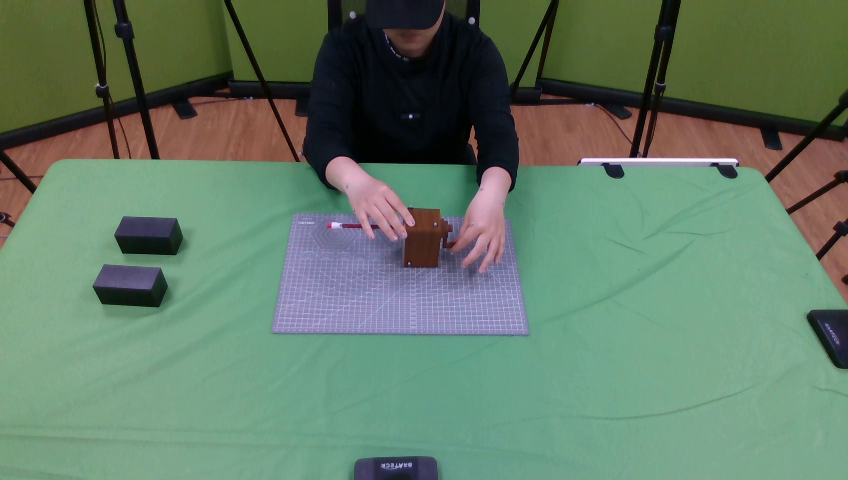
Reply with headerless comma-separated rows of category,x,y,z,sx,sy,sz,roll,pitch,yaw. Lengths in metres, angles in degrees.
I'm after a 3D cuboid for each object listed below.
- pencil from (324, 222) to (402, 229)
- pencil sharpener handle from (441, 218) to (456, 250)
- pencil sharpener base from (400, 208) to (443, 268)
pencil,-0.085,-0.024,1.112,0.194,0.012,0.012,1,45,-5
pencil sharpener handle,0.047,-0.009,1.130,0.031,0.068,0.036,0,37,-5
pencil sharpener base,-0.005,-0.002,1.137,0.077,0.107,0.061,0,46,-5
